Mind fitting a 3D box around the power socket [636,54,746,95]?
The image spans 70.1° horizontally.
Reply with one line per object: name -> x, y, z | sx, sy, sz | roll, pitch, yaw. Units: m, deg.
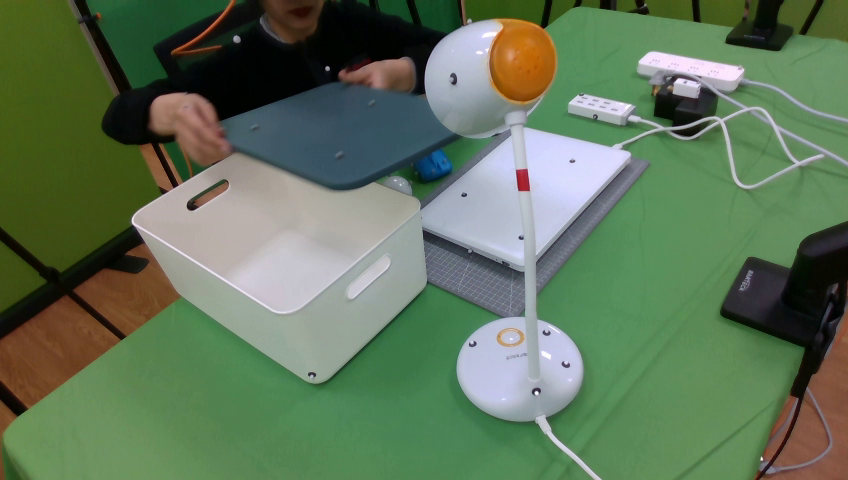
power socket -> 0.564, -0.357, 1.293 | 0.225, 0.033, 0.072 | 24, 51, 33

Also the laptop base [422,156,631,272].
laptop base -> 0.176, -0.084, 1.055 | 0.233, 0.023, 0.355 | 21, 48, 36

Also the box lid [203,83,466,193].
box lid -> -0.121, -0.158, 0.853 | 0.264, 0.015, 0.368 | -32, 37, -33

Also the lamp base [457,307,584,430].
lamp base -> 0.115, 0.108, 0.713 | 0.161, 0.181, 0.178 | -16, 43, -8

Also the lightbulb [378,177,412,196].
lightbulb -> -0.067, -0.086, 1.083 | 0.060, 0.060, 0.107 | -38, 31, -30

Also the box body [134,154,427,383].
box body -> -0.201, 0.018, 0.896 | 0.361, 0.161, 0.255 | 23, 50, 33

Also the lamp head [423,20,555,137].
lamp head -> 0.069, -0.153, 0.572 | 0.113, 0.112, 0.122 | -22, 16, -14

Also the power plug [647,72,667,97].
power plug -> 0.493, -0.321, 1.261 | 0.073, 0.052, 0.035 | 1, 20, -41

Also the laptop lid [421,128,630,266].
laptop lid -> 0.172, -0.093, 1.049 | 0.239, 0.013, 0.358 | 24, 50, 36

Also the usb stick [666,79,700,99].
usb stick -> 0.492, -0.288, 1.152 | 0.058, 0.027, 0.021 | 20, 50, 34

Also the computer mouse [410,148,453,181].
computer mouse -> 0.005, -0.159, 1.165 | 0.063, 0.041, 0.116 | -21, 45, -17

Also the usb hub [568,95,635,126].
usb hub -> 0.360, -0.263, 1.228 | 0.124, 0.025, 0.049 | 24, 49, 34
